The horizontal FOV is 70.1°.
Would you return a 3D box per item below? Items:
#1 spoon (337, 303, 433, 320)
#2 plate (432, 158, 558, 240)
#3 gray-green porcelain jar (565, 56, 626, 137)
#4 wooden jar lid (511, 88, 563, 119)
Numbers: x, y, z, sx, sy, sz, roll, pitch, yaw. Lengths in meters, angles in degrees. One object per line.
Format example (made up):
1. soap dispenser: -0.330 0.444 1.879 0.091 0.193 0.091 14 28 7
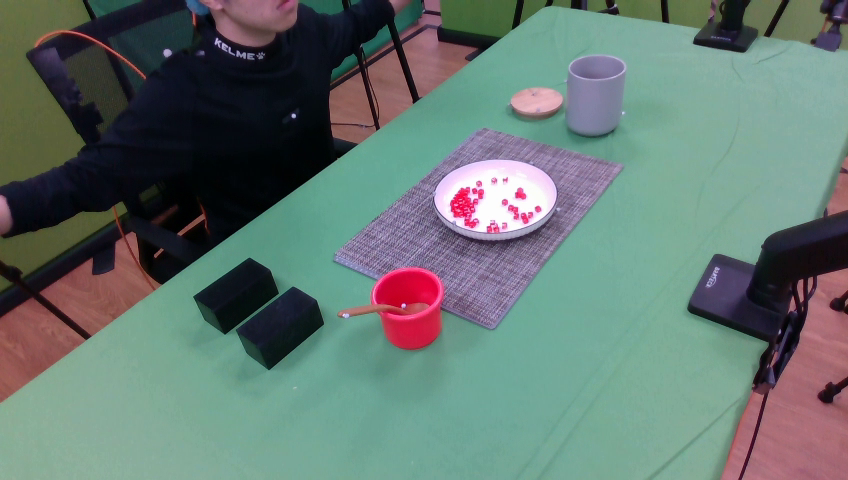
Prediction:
1. spoon: -0.048 0.091 0.777 0.041 0.021 0.195 23 5 32
2. plate: 0.118 -0.066 1.013 0.207 0.039 0.206 -4 41 4
3. gray-green porcelain jar: 0.325 -0.271 1.159 0.106 0.127 0.105 -4 41 4
4. wooden jar lid: 0.237 -0.286 1.271 0.108 0.021 0.108 -5 42 5
